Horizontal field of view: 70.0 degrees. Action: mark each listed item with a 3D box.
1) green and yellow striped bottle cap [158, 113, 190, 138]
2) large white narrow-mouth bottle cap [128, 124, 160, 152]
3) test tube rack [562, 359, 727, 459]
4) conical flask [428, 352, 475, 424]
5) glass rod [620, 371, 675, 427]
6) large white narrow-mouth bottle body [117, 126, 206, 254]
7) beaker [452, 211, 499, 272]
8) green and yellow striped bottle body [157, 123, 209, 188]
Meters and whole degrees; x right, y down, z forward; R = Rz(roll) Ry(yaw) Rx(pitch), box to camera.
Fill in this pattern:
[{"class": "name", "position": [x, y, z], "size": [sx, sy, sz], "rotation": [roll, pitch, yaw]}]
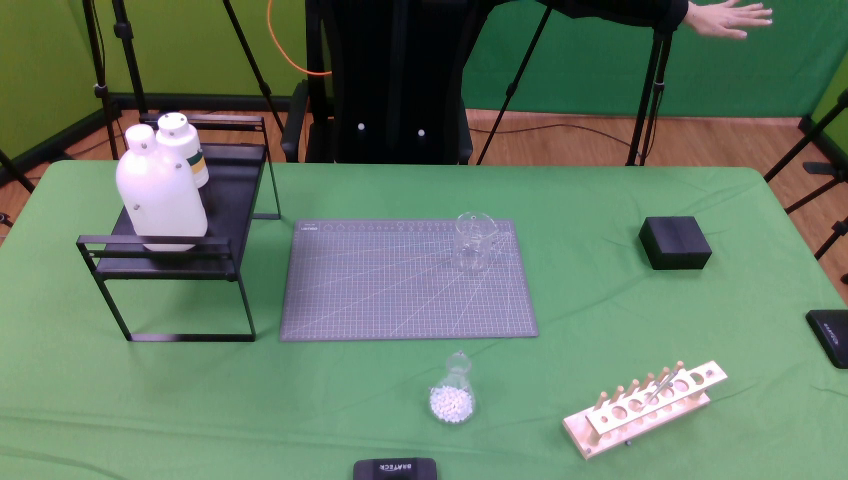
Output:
[{"class": "green and yellow striped bottle cap", "position": [-0.393, -0.180, 0.951], "size": [0.045, 0.020, 0.045], "rotation": [2, 44, -2]}, {"class": "large white narrow-mouth bottle cap", "position": [-0.375, -0.136, 0.811], "size": [0.038, 0.024, 0.037], "rotation": [3, 45, -3]}, {"class": "test tube rack", "position": [0.341, 0.247, 0.940], "size": [0.243, 0.085, 0.066], "rotation": [-16, 49, -18]}, {"class": "conical flask", "position": [0.046, 0.220, 0.920], "size": [0.075, 0.122, 0.075], "rotation": [2, 46, -2]}, {"class": "glass rod", "position": [0.316, 0.230, 0.863], "size": [0.008, 0.200, 0.008], "rotation": [3, 54, -3]}, {"class": "large white narrow-mouth bottle body", "position": [-0.383, -0.076, 0.874], "size": [0.102, 0.195, 0.101], "rotation": [3, 45, -3]}, {"class": "beaker", "position": [0.093, 0.006, 1.141], "size": [0.084, 0.101, 0.073], "rotation": [7, 46, 3]}, {"class": "green and yellow striped bottle body", "position": [-0.395, -0.145, 0.989], "size": [0.063, 0.120, 0.063], "rotation": [2, 46, -2]}]
